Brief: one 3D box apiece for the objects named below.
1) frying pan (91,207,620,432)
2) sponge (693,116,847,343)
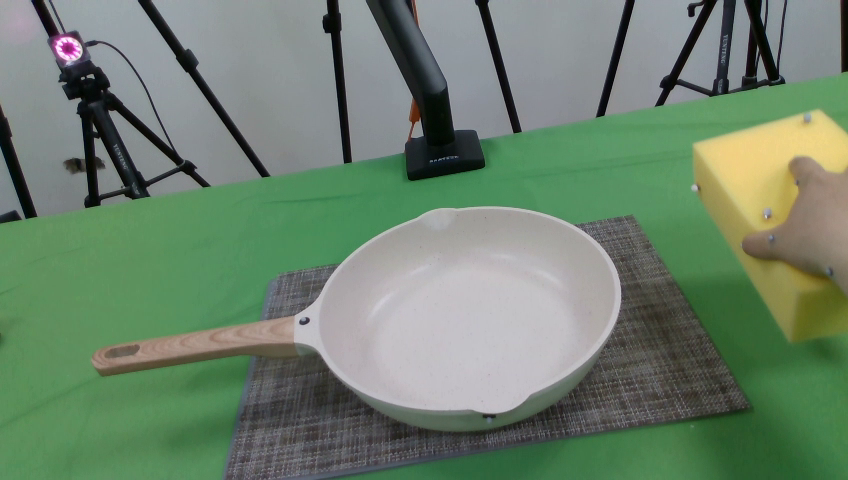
[{"bbox_3d":[-0.062,0.082,0.586,0.489,0.103,0.303,-6,33,-6],"label":"frying pan"},{"bbox_3d":[0.327,-0.018,0.516,0.118,0.061,0.204,-15,38,9],"label":"sponge"}]
